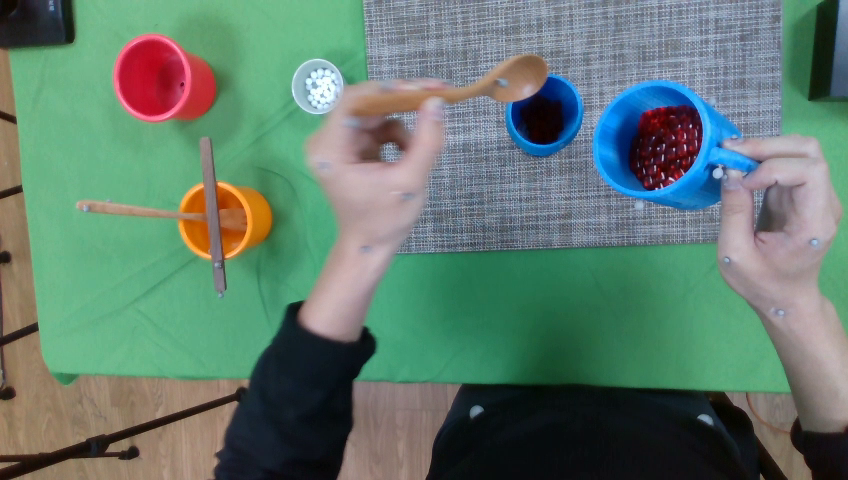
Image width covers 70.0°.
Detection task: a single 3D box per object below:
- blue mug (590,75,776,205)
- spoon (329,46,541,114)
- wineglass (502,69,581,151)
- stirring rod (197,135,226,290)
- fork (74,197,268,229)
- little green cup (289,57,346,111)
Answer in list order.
[{"bbox_3d":[0.197,-0.066,0.448,0.115,0.106,0.082,24,104,36],"label":"blue mug"},{"bbox_3d":[0.017,-0.101,0.393,0.021,0.194,0.042,45,133,19],"label":"spoon"},{"bbox_3d":[0.116,-0.124,0.604,0.073,0.172,0.074,1,97,10],"label":"wineglass"},{"bbox_3d":[-0.241,-0.030,0.688,0.014,0.006,0.176,-3,97,10],"label":"stirring rod"},{"bbox_3d":[-0.283,-0.032,0.697,0.209,0.018,0.028,4,108,-35],"label":"fork"},{"bbox_3d":[-0.122,-0.180,0.708,0.061,0.038,0.061,1,98,10],"label":"little green cup"}]
